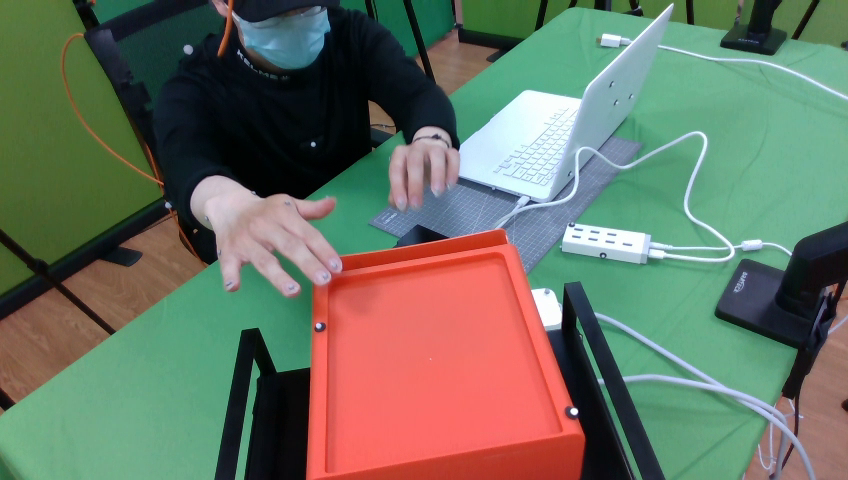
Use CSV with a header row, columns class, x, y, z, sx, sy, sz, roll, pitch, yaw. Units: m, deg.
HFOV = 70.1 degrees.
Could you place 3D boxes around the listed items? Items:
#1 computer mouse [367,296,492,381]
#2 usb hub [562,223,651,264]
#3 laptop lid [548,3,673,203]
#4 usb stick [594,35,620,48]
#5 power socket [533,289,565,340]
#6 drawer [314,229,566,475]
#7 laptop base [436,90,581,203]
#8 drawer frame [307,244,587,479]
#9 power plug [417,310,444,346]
class,x,y,z,sx,sy,sz,roll,pitch,yaw
computer mouse,0.004,0.086,0.570,0.116,0.041,0.063,13,47,30
usb hub,0.279,0.004,0.925,0.124,0.025,0.049,10,43,19
laptop lid,0.320,-0.235,1.026,0.013,0.242,0.357,31,50,20
usb stick,0.443,-0.482,1.466,0.059,0.021,0.027,10,43,9
power socket,0.081,0.111,0.822,0.227,0.033,0.072,-6,41,0
drawer,0.003,0.094,0.541,0.195,0.073,0.210,-9,41,-3
laptop base,0.214,-0.193,1.172,0.233,0.023,0.355,19,46,32
drawer frame,0.008,0.110,0.519,0.202,0.083,0.212,-9,41,-3
power plug,0.006,0.122,0.785,0.035,0.053,0.072,2,39,8
